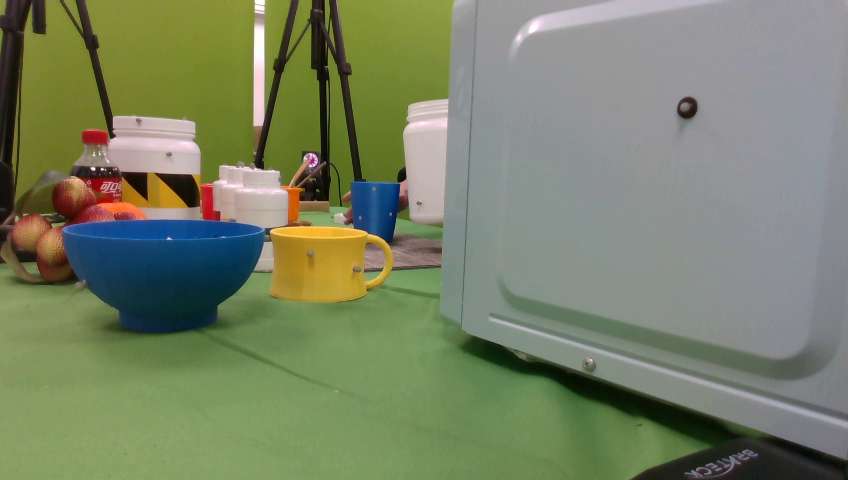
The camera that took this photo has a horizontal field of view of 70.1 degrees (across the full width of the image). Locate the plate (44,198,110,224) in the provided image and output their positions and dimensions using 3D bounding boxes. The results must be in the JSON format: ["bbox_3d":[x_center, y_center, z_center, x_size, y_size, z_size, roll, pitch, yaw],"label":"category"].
[{"bbox_3d":[-0.617,-0.056,1.179,0.209,0.038,0.209,3,7,0],"label":"plate"}]

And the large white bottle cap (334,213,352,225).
[{"bbox_3d":[-0.145,-0.048,1.355,0.115,0.018,0.115,2,7,0],"label":"large white bottle cap"}]

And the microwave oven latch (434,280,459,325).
[{"bbox_3d":[0.044,0.045,0.470,0.079,0.029,0.030,-2,8,-39],"label":"microwave oven latch"}]

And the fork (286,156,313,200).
[{"bbox_3d":[-0.288,-0.117,1.319,0.028,0.019,0.207,-8,45,32],"label":"fork"}]

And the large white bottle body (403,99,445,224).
[{"bbox_3d":[0.035,-0.122,0.943,0.131,0.184,0.130,-4,7,1],"label":"large white bottle body"}]

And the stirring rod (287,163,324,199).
[{"bbox_3d":[-0.278,-0.105,1.293,0.176,0.006,0.014,-46,25,-18],"label":"stirring rod"}]

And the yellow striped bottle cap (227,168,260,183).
[{"bbox_3d":[-0.243,-0.087,0.818,0.044,0.018,0.044,3,6,0],"label":"yellow striped bottle cap"}]

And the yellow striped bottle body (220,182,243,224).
[{"bbox_3d":[-0.245,-0.036,0.825,0.063,0.120,0.063,3,8,0],"label":"yellow striped bottle body"}]

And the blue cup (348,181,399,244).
[{"bbox_3d":[-0.085,-0.046,1.011,0.093,0.100,0.092,2,8,0],"label":"blue cup"}]

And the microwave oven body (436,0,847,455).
[{"bbox_3d":[0.279,-0.040,0.465,0.444,0.260,0.324,-3,9,-41],"label":"microwave oven body"}]

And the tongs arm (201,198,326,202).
[{"bbox_3d":[-0.433,-0.090,1.508,0.390,0.028,0.028,-1,2,-29],"label":"tongs arm"}]

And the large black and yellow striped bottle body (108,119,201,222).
[{"bbox_3d":[-0.412,-0.088,0.930,0.131,0.184,0.130,3,7,0],"label":"large black and yellow striped bottle body"}]

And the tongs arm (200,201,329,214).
[{"bbox_3d":[-0.378,-0.079,1.440,0.387,0.026,0.050,-4,8,-44],"label":"tongs arm"}]

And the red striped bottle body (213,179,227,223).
[{"bbox_3d":[-0.284,-0.048,0.910,0.063,0.119,0.063,3,12,0],"label":"red striped bottle body"}]

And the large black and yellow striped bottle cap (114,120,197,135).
[{"bbox_3d":[-0.407,-0.171,0.920,0.115,0.019,0.115,2,9,0],"label":"large black and yellow striped bottle cap"}]

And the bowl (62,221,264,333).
[{"bbox_3d":[-0.208,0.029,0.496,0.151,0.077,0.151,2,7,0],"label":"bowl"}]

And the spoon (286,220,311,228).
[{"bbox_3d":[-0.232,-0.027,1.116,0.041,0.021,0.193,-22,6,4],"label":"spoon"}]

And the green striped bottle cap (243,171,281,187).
[{"bbox_3d":[-0.198,-0.074,0.736,0.044,0.020,0.044,1,7,0],"label":"green striped bottle cap"}]

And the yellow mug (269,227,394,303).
[{"bbox_3d":[-0.094,0.023,0.629,0.131,0.064,0.099,0,7,-22],"label":"yellow mug"}]

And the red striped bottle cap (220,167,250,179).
[{"bbox_3d":[-0.281,-0.100,0.901,0.044,0.017,0.044,0,5,0],"label":"red striped bottle cap"}]

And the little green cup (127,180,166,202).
[{"bbox_3d":[-0.485,-0.086,1.061,0.061,0.038,0.061,1,7,0],"label":"little green cup"}]

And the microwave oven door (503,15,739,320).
[{"bbox_3d":[0.218,-0.065,0.600,0.358,0.243,0.039,-4,10,-41],"label":"microwave oven door"}]

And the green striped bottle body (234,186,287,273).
[{"bbox_3d":[-0.200,-0.023,0.743,0.063,0.119,0.063,2,7,0],"label":"green striped bottle body"}]
